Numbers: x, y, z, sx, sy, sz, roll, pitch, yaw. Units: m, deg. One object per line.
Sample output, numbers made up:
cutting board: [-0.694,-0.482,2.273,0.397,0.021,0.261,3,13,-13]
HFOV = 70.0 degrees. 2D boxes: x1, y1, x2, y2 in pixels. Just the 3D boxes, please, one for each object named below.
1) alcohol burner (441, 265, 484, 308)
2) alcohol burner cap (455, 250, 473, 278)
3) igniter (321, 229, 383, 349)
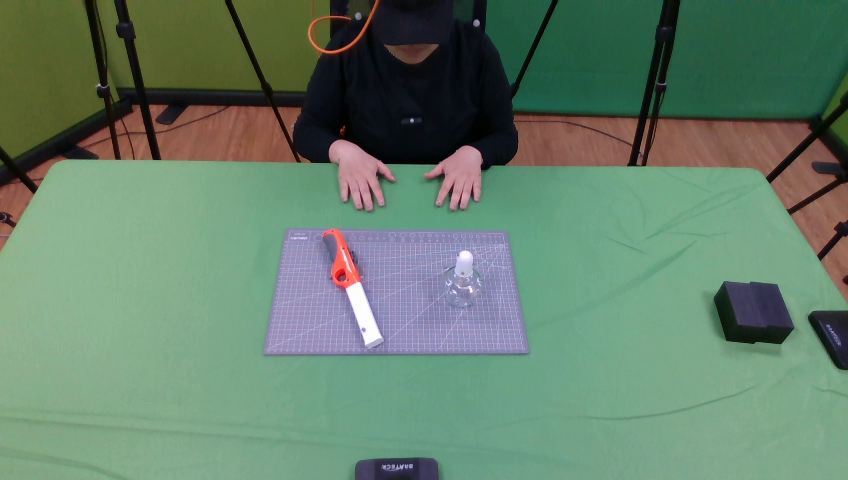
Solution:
alcohol burner: [0.069,0.064,1.075,0.078,0.120,0.077,1,45,-1]
alcohol burner cap: [0.070,0.040,1.048,0.034,0.048,0.033,1,43,-1]
igniter: [-0.134,0.078,1.102,0.057,0.025,0.274,-28,53,0]
